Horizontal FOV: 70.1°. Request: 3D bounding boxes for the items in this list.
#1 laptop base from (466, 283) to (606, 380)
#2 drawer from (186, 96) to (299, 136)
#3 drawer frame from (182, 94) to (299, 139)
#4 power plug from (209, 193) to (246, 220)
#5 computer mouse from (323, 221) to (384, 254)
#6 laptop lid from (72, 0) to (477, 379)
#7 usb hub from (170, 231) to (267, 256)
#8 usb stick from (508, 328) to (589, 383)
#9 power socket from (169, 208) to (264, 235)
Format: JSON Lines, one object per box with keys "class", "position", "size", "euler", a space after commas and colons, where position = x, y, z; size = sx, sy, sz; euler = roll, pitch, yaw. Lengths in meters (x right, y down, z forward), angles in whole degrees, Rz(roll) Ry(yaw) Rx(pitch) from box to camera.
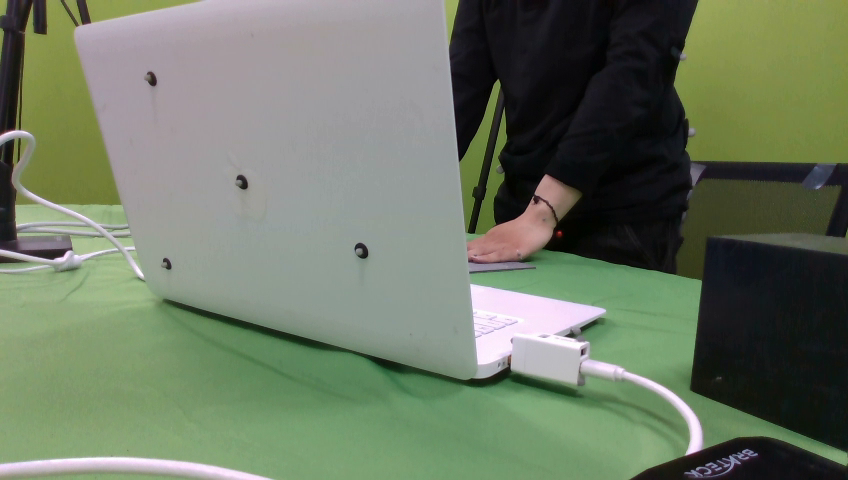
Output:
{"class": "laptop base", "position": [-0.042, 0.058, 0.554], "size": [0.352, 0.023, 0.237], "euler": [8, 7, 35]}
{"class": "drawer", "position": [-0.415, -0.275, 1.370], "size": [0.195, 0.073, 0.210], "euler": [-4, 9, -35]}
{"class": "drawer frame", "position": [-0.418, -0.276, 1.371], "size": [0.203, 0.082, 0.212], "euler": [-4, 9, -36]}
{"class": "power plug", "position": [-0.388, -0.067, 1.205], "size": [0.072, 0.052, 0.035], "euler": [3, 8, 26]}
{"class": "computer mouse", "position": [-0.105, -0.005, 0.923], "size": [0.062, 0.041, 0.117], "euler": [6, 12, 14]}
{"class": "laptop lid", "position": [-0.125, -0.042, 0.418], "size": [0.355, 0.241, 0.013], "euler": [9, 25, 34]}
{"class": "usb hub", "position": [-0.290, 0.005, 0.862], "size": [0.049, 0.025, 0.126], "euler": [10, 11, 42]}
{"class": "usb stick", "position": [0.072, 0.071, 0.383], "size": [0.059, 0.027, 0.021], "euler": [1, 1, 34]}
{"class": "power socket", "position": [-0.381, -0.038, 1.128], "size": [0.072, 0.032, 0.227], "euler": [4, 8, 16]}
